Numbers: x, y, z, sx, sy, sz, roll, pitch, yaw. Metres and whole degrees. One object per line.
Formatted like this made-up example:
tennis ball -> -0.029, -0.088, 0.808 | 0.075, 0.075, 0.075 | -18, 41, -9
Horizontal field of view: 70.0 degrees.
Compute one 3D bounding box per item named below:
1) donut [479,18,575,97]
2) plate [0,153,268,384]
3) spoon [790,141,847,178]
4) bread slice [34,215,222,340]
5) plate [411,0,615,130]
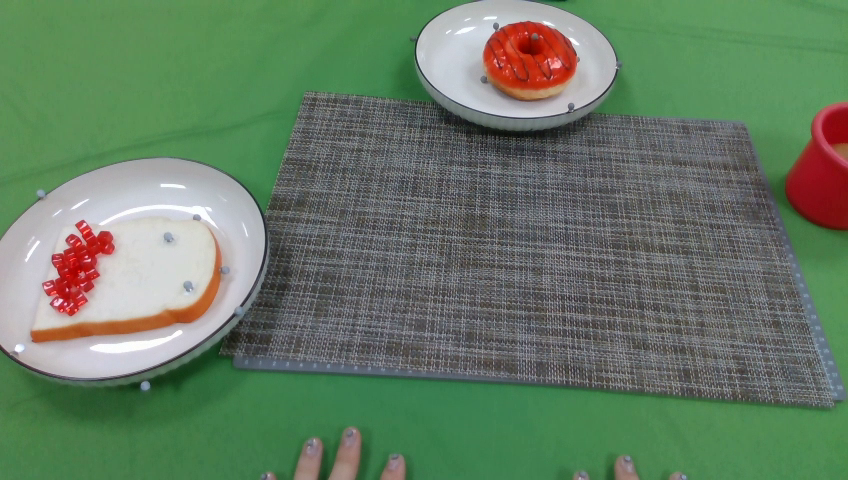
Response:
donut -> 0.105, -0.186, 0.620 | 0.099, 0.048, 0.098 | 2, 54, -2
plate -> -0.225, 0.018, 0.475 | 0.209, 0.038, 0.207 | 1, 54, -1
spoon -> 0.405, -0.080, 0.494 | 0.193, 0.022, 0.041 | -7, 37, 45
bread slice -> -0.226, 0.023, 0.474 | 0.132, 0.019, 0.104 | -7, 54, -5
plate -> 0.090, -0.181, 0.630 | 0.208, 0.039, 0.205 | 1, 52, -1
